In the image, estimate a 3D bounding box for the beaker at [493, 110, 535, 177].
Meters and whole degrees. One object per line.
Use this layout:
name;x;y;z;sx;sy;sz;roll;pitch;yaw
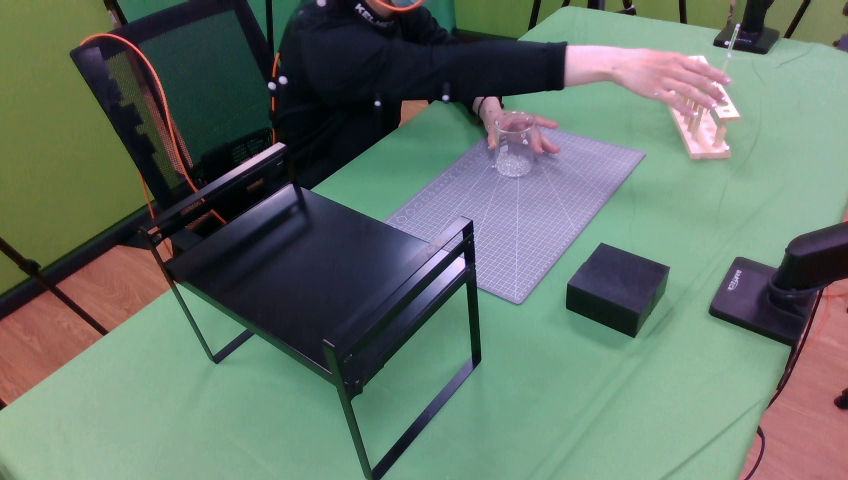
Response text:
beaker;0.165;-0.172;1.083;0.084;0.101;0.073;-35;48;-27

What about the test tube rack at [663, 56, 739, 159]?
test tube rack;0.518;-0.256;1.144;0.066;0.085;0.241;-1;41;8

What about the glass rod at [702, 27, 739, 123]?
glass rod;0.526;-0.287;1.078;0.008;0.200;0.008;-2;49;3
